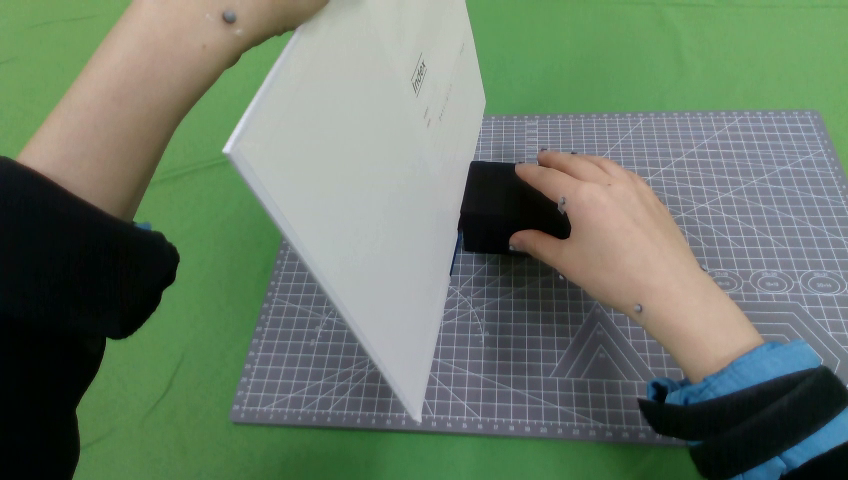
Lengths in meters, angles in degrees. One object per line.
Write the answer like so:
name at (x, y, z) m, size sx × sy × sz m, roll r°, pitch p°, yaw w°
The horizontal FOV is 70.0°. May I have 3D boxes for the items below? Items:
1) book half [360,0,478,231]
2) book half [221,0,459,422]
book half at (0.002, -0.126, 0.397) m, size 0.016 × 0.212 × 0.147 m, roll -1°, pitch 51°, yaw 19°
book half at (-0.020, -0.015, 0.310) m, size 0.007 × 0.212 × 0.142 m, roll -2°, pitch 51°, yaw 20°
